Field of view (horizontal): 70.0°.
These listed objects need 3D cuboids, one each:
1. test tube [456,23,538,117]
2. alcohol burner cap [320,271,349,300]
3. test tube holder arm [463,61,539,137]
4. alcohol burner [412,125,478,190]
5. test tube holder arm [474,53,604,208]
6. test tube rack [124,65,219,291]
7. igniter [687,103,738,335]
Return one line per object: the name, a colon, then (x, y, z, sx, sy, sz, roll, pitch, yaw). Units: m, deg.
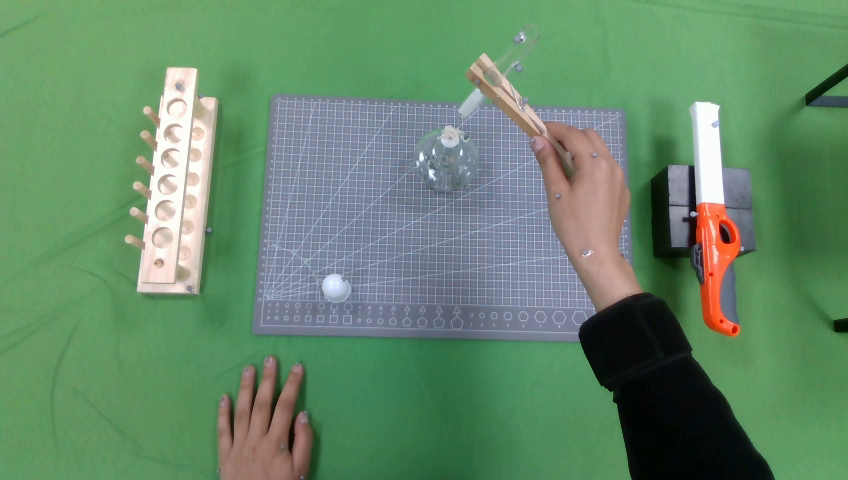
test tube: (0.061, -0.146, 0.543, 0.017, 0.150, 0.017, 4, 75, -17)
alcohol burner cap: (-0.104, 0.051, 0.691, 0.034, 0.048, 0.033, 1, 78, -4)
test tube holder arm: (0.072, -0.127, 0.550, 0.088, 0.015, 0.010, 41, 70, -9)
alcohol burner: (0.025, -0.101, 0.696, 0.078, 0.119, 0.077, 0, 78, -1)
test tube holder arm: (0.107, -0.099, 0.558, 0.179, 0.015, 0.013, 47, 70, -7)
test tube rack: (-0.290, -0.068, 0.687, 0.067, 0.085, 0.241, 2, 77, -2)
igniter: (0.329, -0.029, 0.696, 0.057, 0.025, 0.275, 4, 75, -5)
